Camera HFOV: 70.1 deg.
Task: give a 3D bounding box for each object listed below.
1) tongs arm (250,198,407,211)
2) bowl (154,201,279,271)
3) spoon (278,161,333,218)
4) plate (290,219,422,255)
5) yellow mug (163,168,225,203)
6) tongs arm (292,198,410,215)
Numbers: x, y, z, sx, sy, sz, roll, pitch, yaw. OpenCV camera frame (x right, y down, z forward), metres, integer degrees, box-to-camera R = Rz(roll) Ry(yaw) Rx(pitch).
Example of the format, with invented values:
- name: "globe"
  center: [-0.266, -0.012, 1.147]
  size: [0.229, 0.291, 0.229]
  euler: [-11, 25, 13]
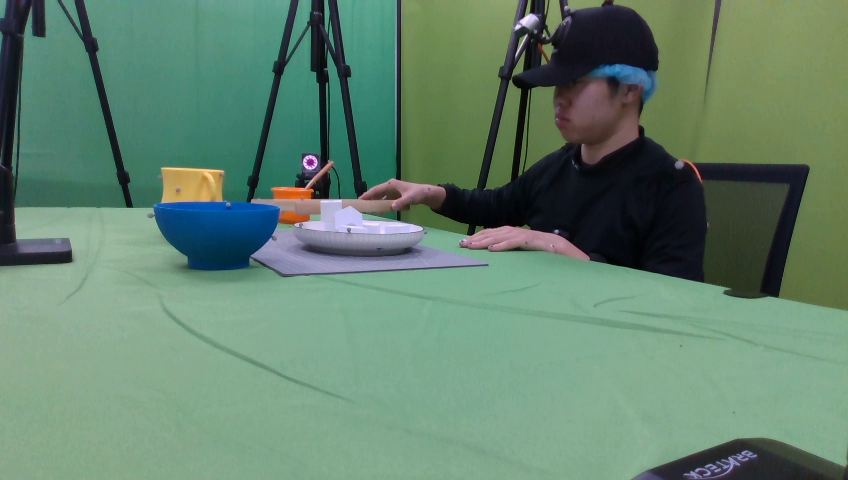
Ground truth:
- name: "tongs arm"
  center: [-0.192, -0.078, 1.320]
  size: [0.050, 0.026, 0.387]
  euler: [4, 5, 44]
- name: "bowl"
  center: [-0.263, -0.005, 0.772]
  size: [0.151, 0.077, 0.151]
  euler: [3, 8, 0]
- name: "spoon"
  center: [-0.262, -0.115, 1.359]
  size: [0.041, 0.194, 0.022]
  euler: [12, -33, 38]
- name: "plate"
  center: [-0.108, -0.005, 0.963]
  size: [0.208, 0.039, 0.207]
  euler: [3, 7, 0]
- name: "yellow mug"
  center: [-0.383, -0.087, 1.026]
  size: [0.130, 0.064, 0.100]
  euler: [11, 11, 44]
- name: "tongs arm"
  center: [-0.135, -0.072, 1.271]
  size: [0.028, 0.028, 0.389]
  euler: [-2, 3, 34]
